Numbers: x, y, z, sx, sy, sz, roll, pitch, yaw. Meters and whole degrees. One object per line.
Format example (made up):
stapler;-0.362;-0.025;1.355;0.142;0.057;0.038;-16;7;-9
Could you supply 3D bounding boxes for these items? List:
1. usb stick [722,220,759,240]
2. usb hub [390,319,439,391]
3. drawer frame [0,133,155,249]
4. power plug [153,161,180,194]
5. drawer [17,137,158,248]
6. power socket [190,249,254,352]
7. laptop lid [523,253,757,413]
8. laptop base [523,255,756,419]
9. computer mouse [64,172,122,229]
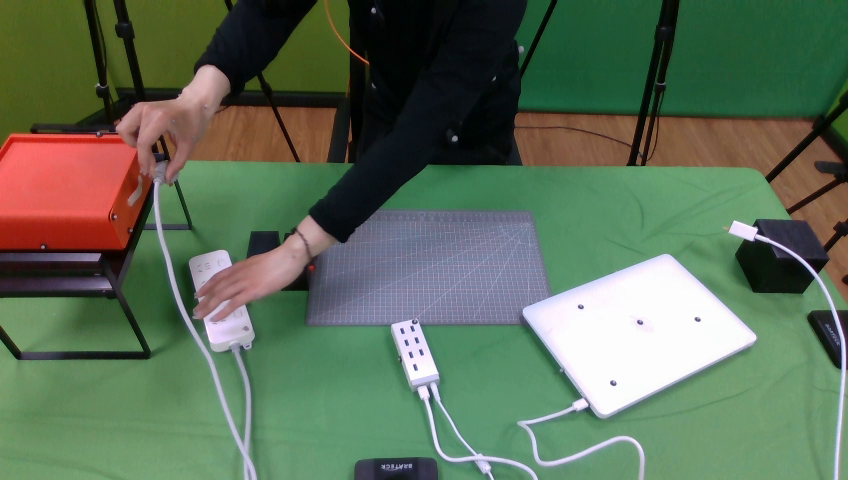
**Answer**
usb stick;0.593;-0.021;1.139;0.059;0.027;0.021;22;12;28
usb hub;-0.016;0.190;1.013;0.049;0.025;0.124;-10;48;-15
drawer frame;-0.553;-0.078;0.942;0.214;0.083;0.200;-1;47;-4
power plug;-0.396;-0.089;0.911;0.035;0.053;0.072;23;55;1
drawer;-0.549;-0.079;0.944;0.212;0.073;0.193;0;47;-3
power socket;-0.358;0.101;1.067;0.072;0.033;0.225;-17;50;-18
laptop lid;0.380;0.147;1.073;0.357;0.013;0.240;-17;48;-19
laptop base;0.381;0.157;1.080;0.355;0.023;0.234;-18;48;-20
computer mouse;-0.521;-0.066;0.955;0.063;0.041;0.116;0;48;-9
